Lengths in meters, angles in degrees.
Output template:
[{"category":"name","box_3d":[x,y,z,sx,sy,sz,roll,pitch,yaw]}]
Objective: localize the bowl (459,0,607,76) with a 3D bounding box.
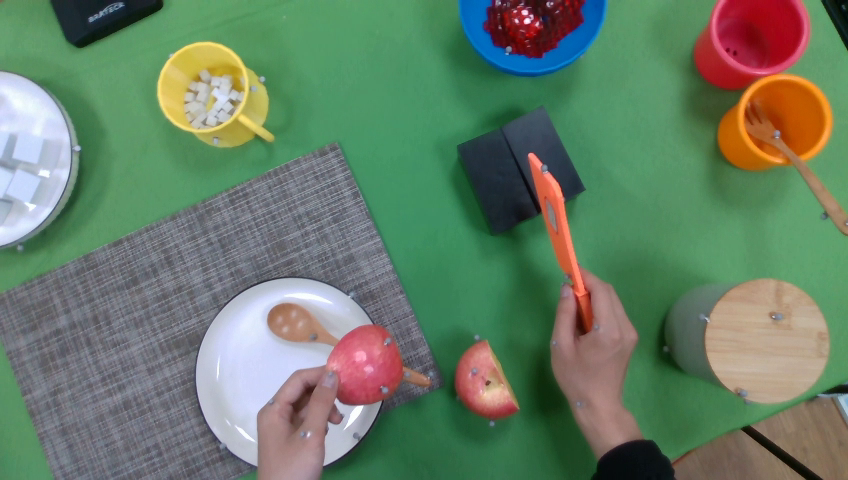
[{"category":"bowl","box_3d":[0.113,-0.240,0.651,0.151,0.077,0.151,0,87,4]}]

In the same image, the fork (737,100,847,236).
[{"category":"fork","box_3d":[0.358,-0.077,0.590,0.028,0.019,0.205,-7,42,2]}]

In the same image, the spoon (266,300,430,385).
[{"category":"spoon","box_3d":[-0.083,0.114,0.644,0.193,0.022,0.041,22,88,15]}]

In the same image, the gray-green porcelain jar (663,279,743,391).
[{"category":"gray-green porcelain jar","box_3d":[0.301,0.092,0.595,0.106,0.127,0.105,0,85,4]}]

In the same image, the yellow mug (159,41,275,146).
[{"category":"yellow mug","box_3d":[-0.218,-0.151,0.672,0.130,0.064,0.100,37,88,4]}]

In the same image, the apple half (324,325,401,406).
[{"category":"apple half","box_3d":[-0.051,0.121,0.566,0.082,0.032,0.081,2,87,-37]}]

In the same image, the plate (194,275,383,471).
[{"category":"plate","box_3d":[-0.142,0.141,0.659,0.209,0.038,0.208,0,87,3]}]

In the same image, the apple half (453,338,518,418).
[{"category":"apple half","box_3d":[0.058,0.148,0.633,0.053,0.075,0.080,-27,88,5]}]

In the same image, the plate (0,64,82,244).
[{"category":"plate","box_3d":[-0.491,-0.096,0.698,0.207,0.039,0.207,0,86,4]}]

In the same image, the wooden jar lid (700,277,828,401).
[{"category":"wooden jar lid","box_3d":[0.296,0.086,0.533,0.108,0.021,0.108,0,88,2]}]

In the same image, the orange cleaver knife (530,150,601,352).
[{"category":"orange cleaver knife","box_3d":[0.137,0.014,0.590,0.012,0.076,0.213,-21,115,1]}]
